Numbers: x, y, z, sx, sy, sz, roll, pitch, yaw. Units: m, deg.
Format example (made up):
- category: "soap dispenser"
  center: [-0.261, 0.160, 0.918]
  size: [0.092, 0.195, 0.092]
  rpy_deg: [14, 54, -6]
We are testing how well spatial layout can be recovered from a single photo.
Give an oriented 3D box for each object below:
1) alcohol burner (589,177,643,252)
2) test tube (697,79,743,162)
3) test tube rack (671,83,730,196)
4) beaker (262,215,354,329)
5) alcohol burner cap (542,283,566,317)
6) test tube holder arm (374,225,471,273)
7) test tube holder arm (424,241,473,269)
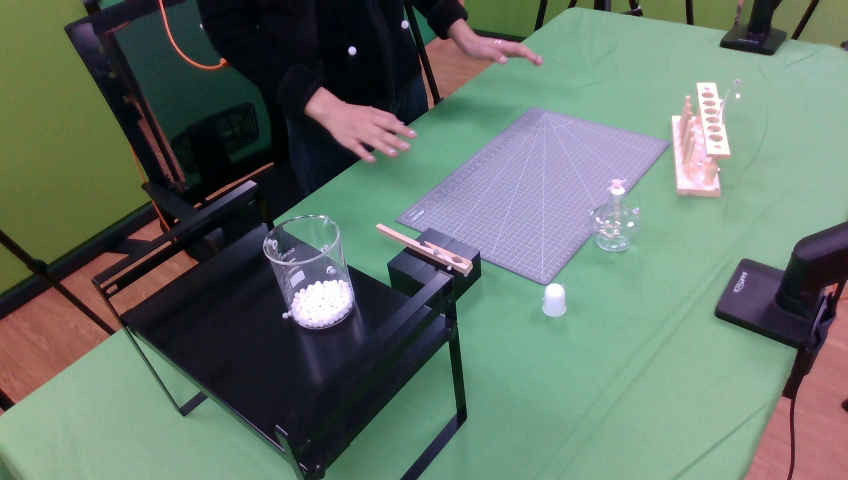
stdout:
- category: "alcohol burner"
  center: [0.290, -0.042, 0.910]
  size: [0.078, 0.119, 0.077]
  rpy_deg: [-6, 40, 5]
- category: "test tube"
  center: [0.486, -0.194, 0.998]
  size: [0.017, 0.150, 0.017]
  rpy_deg: [5, 40, -4]
- category: "test tube rack"
  center: [0.482, -0.184, 1.067]
  size: [0.066, 0.085, 0.242]
  rpy_deg: [5, 42, 15]
- category: "beaker"
  center: [-0.112, 0.034, 0.616]
  size: [0.073, 0.101, 0.084]
  rpy_deg: [13, 44, 23]
- category: "alcohol burner cap"
  center: [0.181, 0.081, 0.840]
  size: [0.034, 0.048, 0.033]
  rpy_deg: [-3, 40, 3]
- category: "test tube holder arm"
  center: [-0.006, 0.012, 0.893]
  size: [0.177, 0.015, 0.013]
  rpy_deg: [21, 50, 32]
- category: "test tube holder arm"
  center: [0.033, 0.022, 0.872]
  size: [0.087, 0.015, 0.010]
  rpy_deg: [22, 50, 32]
